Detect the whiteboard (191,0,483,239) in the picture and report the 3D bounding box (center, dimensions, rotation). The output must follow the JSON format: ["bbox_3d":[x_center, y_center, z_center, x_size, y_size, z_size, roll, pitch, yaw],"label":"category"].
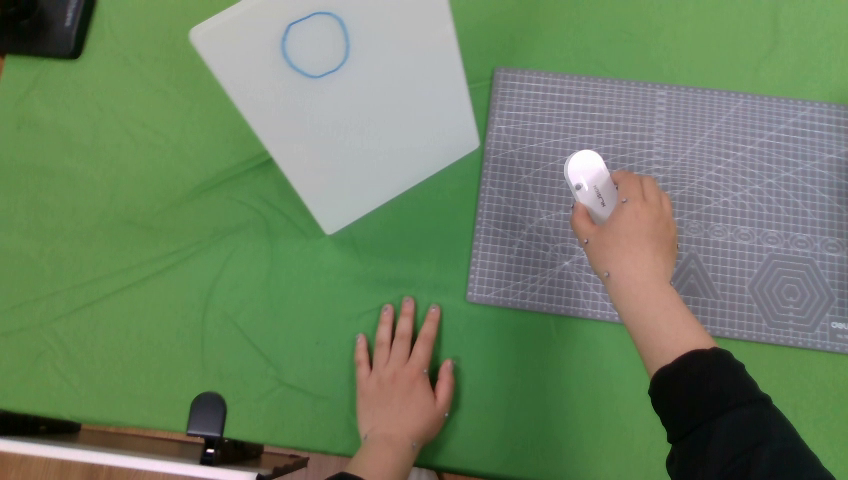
[{"bbox_3d":[-0.085,-0.182,0.633,0.217,0.308,0.142,-31,57,-5],"label":"whiteboard"}]

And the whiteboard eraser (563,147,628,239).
[{"bbox_3d":[0.176,-0.048,0.623,0.041,0.018,0.101,-29,101,-7],"label":"whiteboard eraser"}]
